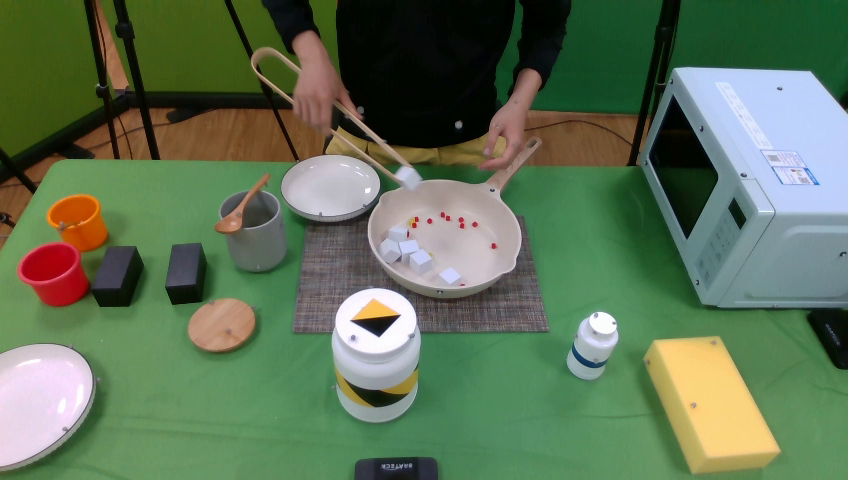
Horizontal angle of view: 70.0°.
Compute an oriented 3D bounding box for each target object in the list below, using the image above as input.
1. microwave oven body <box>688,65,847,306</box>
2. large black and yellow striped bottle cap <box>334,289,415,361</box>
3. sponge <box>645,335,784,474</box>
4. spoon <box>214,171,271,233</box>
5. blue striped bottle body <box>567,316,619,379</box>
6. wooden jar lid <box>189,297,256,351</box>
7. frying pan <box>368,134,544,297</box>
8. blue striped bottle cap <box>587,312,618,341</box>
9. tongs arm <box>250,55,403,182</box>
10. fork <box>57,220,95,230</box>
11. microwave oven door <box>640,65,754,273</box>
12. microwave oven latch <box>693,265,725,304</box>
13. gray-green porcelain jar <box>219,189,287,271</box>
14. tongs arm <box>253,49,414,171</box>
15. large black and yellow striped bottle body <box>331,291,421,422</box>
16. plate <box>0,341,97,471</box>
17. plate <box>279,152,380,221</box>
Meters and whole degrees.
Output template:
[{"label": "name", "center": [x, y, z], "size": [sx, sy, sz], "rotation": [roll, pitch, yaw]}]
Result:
[{"label": "microwave oven body", "center": [0.669, -0.111, 1.176], "size": [0.326, 0.261, 0.439], "rotation": [0, 46, -3]}, {"label": "large black and yellow striped bottle cap", "center": [-0.069, 0.117, 0.850], "size": [0.115, 0.019, 0.114], "rotation": [2, 45, -2]}, {"label": "sponge", "center": [0.449, 0.253, 0.956], "size": [0.118, 0.061, 0.205], "rotation": [-4, 46, -7]}, {"label": "spoon", "center": [-0.312, -0.070, 1.070], "size": [0.041, 0.022, 0.193], "rotation": [9, 43, 10]}, {"label": "blue striped bottle body", "center": [0.276, 0.168, 0.984], "size": [0.063, 0.121, 0.062], "rotation": [2, 46, -2]}, {"label": "wooden jar lid", "center": [-0.342, 0.145, 1.033], "size": [0.108, 0.021, 0.107], "rotation": [2, 45, -2]}, {"label": "frying pan", "center": [0.104, -0.069, 1.205], "size": [0.305, 0.103, 0.487], "rotation": [32, 61, 23]}, {"label": "blue striped bottle cap", "center": [0.279, 0.134, 0.947], "size": [0.044, 0.021, 0.044], "rotation": [2, 45, -2]}, {"label": "tongs arm", "center": [-0.189, -0.228, 1.152], "size": [0.387, 0.028, 0.028], "rotation": [38, 88, 8]}, {"label": "fork", "center": [-0.624, -0.027, 1.086], "size": [0.028, 0.207, 0.018], "rotation": [-3, 92, -17]}, {"label": "microwave oven door", "center": [0.523, -0.147, 1.193], "size": [0.039, 0.245, 0.353], "rotation": [0, 47, -3]}, {"label": "microwave oven latch", "center": [0.523, 0.081, 1.116], "size": [0.030, 0.029, 0.078], "rotation": [2, 46, -1]}, {"label": "gray-green porcelain jar", "center": [-0.310, -0.014, 1.113], "size": [0.106, 0.127, 0.105], "rotation": [2, 46, -2]}, {"label": "tongs arm", "center": [-0.175, -0.245, 1.154], "size": [0.384, 0.026, 0.051], "rotation": [43, 85, 9]}, {"label": "large black and yellow striped bottle body", "center": [-0.071, 0.175, 0.911], "size": [0.131, 0.185, 0.130], "rotation": [2, 47, -2]}, {"label": "plate", "center": [-0.599, 0.247, 0.904], "size": [0.209, 0.038, 0.208], "rotation": [2, 47, -2]}, {"label": "plate", "center": [-0.196, -0.108, 1.269], "size": [0.208, 0.039, 0.206], "rotation": [2, 45, -2]}]
